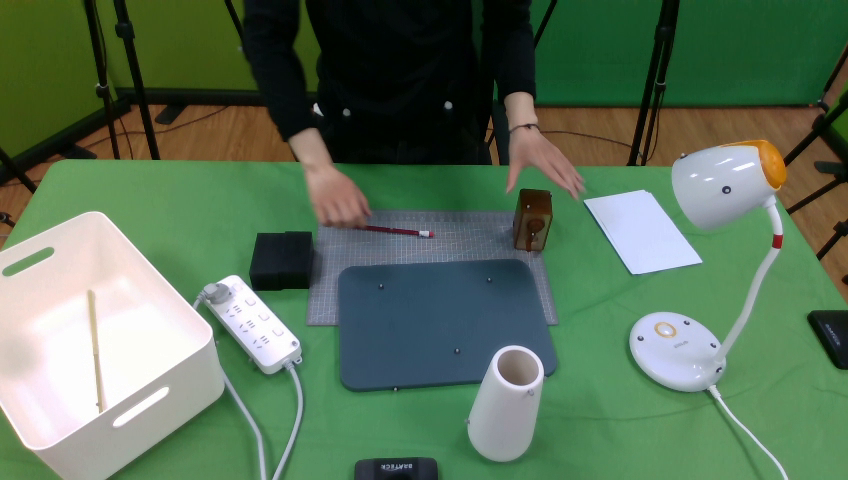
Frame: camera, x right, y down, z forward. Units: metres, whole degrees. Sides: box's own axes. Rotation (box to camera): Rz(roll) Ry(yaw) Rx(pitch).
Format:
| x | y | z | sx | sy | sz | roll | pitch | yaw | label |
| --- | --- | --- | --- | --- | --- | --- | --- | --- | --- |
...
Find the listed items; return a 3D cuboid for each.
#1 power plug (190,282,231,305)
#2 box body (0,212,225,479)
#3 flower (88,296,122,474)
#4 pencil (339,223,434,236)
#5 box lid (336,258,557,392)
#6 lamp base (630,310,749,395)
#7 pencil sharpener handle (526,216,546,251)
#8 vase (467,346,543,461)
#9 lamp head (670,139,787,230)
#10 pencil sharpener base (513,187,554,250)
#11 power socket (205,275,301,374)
| x | y | z | sx | sy | sz | roll | pitch | yaw | label |
| --- | --- | --- | --- | --- | --- | --- | --- | --- | --- |
| -0.368 | 0.098 | 1.039 | 0.072 | 0.053 | 0.035 | -26 | 55 | -20 | power plug |
| -0.504 | 0.154 | 0.916 | 0.362 | 0.161 | 0.254 | 36 | 54 | 27 | box body |
| -0.516 | 0.209 | 0.958 | 0.044 | 0.038 | 0.359 | -8 | 42 | -27 | flower |
| -0.076 | -0.022 | 1.219 | 0.194 | 0.012 | 0.012 | 6 | 46 | 3 | pencil |
| 0.030 | 0.140 | 1.073 | 0.372 | 0.015 | 0.261 | -3 | 47 | -7 | box lid |
| 0.447 | 0.142 | 0.984 | 0.161 | 0.181 | 0.178 | -24 | 55 | -24 | lamp base |
| 0.208 | -0.010 | 1.143 | 0.036 | 0.068 | 0.030 | 10 | 46 | -5 | pencil sharpener handle |
| 0.116 | 0.234 | 0.861 | 0.098 | 0.201 | 0.097 | 1 | 47 | -1 | vase |
| 0.415 | -0.078 | 0.811 | 0.113 | 0.123 | 0.112 | 12 | 70 | -37 | lamp head |
| 0.213 | -0.039 | 1.187 | 0.061 | 0.107 | 0.076 | 5 | 47 | 0 | pencil sharpener base |
| -0.296 | 0.140 | 1.035 | 0.072 | 0.033 | 0.225 | -32 | 57 | -29 | power socket |
